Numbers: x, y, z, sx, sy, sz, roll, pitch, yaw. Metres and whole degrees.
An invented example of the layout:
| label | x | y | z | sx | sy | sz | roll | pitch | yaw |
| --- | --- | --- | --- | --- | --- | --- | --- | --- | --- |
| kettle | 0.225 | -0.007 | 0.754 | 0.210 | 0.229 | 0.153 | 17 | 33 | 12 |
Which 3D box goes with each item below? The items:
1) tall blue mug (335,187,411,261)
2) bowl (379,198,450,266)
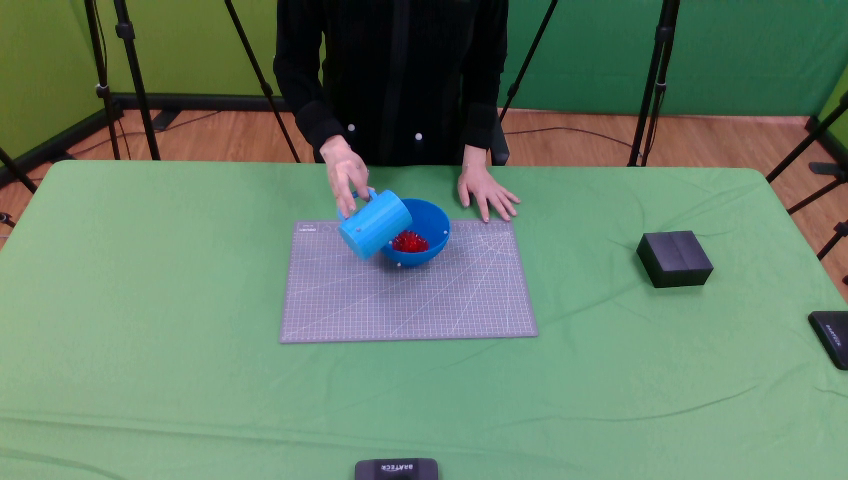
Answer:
| label | x | y | z | sx | sy | sz | roll | pitch | yaw |
| --- | --- | --- | --- | --- | --- | --- | --- | --- | --- |
| tall blue mug | -0.096 | -0.039 | 1.046 | 0.108 | 0.077 | 0.107 | -40 | 99 | -15 |
| bowl | -0.028 | -0.003 | 1.156 | 0.151 | 0.077 | 0.150 | 2 | 46 | -2 |
